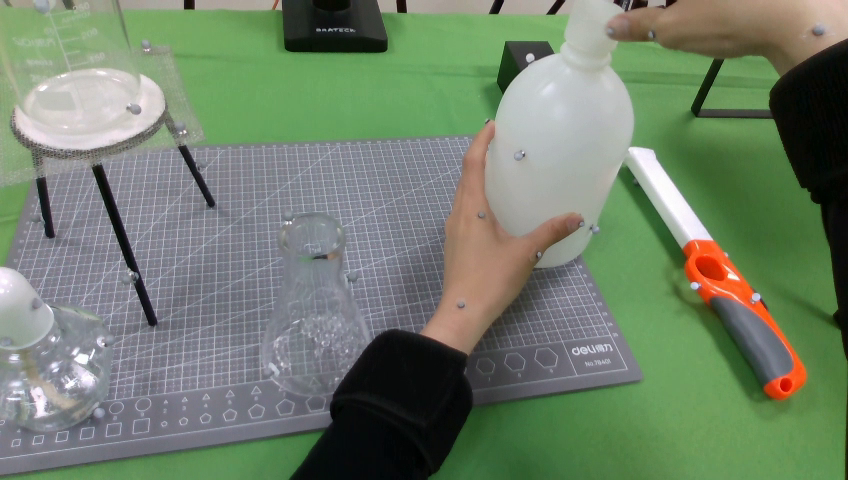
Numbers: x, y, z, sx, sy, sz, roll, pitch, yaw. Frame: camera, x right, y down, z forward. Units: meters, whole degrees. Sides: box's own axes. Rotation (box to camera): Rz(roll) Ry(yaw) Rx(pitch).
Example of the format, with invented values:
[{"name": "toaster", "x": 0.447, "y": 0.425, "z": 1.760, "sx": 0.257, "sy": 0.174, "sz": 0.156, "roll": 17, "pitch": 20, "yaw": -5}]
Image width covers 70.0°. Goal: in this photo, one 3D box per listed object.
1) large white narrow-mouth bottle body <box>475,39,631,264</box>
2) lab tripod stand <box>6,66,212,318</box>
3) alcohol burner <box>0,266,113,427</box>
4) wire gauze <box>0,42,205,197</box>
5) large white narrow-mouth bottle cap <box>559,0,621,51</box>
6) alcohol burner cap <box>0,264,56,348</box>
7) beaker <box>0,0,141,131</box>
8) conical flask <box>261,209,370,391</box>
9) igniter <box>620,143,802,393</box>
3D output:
[{"name": "large white narrow-mouth bottle body", "x": 0.101, "y": -0.077, "z": 0.465, "sx": 0.102, "sy": 0.196, "sz": 0.101, "roll": 4, "pitch": 47, "yaw": -3}, {"name": "lab tripod stand", "x": -0.213, "y": -0.038, "z": 0.423, "sx": 0.148, "sy": 0.132, "sz": 0.147, "roll": 6, "pitch": 47, "yaw": -6}, {"name": "alcohol burner", "x": -0.225, "y": 0.056, "z": 0.347, "sx": 0.078, "sy": 0.120, "sz": 0.077, "roll": 6, "pitch": 45, "yaw": -5}, {"name": "wire gauze", "x": -0.211, "y": -0.084, "z": 0.377, "sx": 0.122, "sy": 0.011, "sz": 0.124, "roll": -17, "pitch": 56, "yaw": -21}, {"name": "large white narrow-mouth bottle cap", "x": 0.108, "y": -0.143, "z": 0.396, "sx": 0.038, "sy": 0.024, "sz": 0.037, "roll": 4, "pitch": 47, "yaw": -4}, {"name": "alcohol burner cap", "x": -0.221, "y": 0.033, "z": 0.320, "sx": 0.034, "sy": 0.048, "sz": 0.033, "roll": 4, "pitch": 52, "yaw": -5}, {"name": "beaker", "x": -0.210, "y": -0.119, "z": 0.342, "sx": 0.084, "sy": 0.101, "sz": 0.073, "roll": -10, "pitch": 51, "yaw": -17}, {"name": "conical flask", "x": -0.070, "y": 0.036, "z": 0.384, "sx": 0.075, "sy": 0.123, "sz": 0.074, "roll": 4, "pitch": 47, "yaw": -4}, {"name": "igniter", "x": 0.238, "y": 0.009, "z": 0.524, "sx": 0.057, "sy": 0.025, "sz": 0.273, "roll": 4, "pitch": 46, "yaw": -20}]
